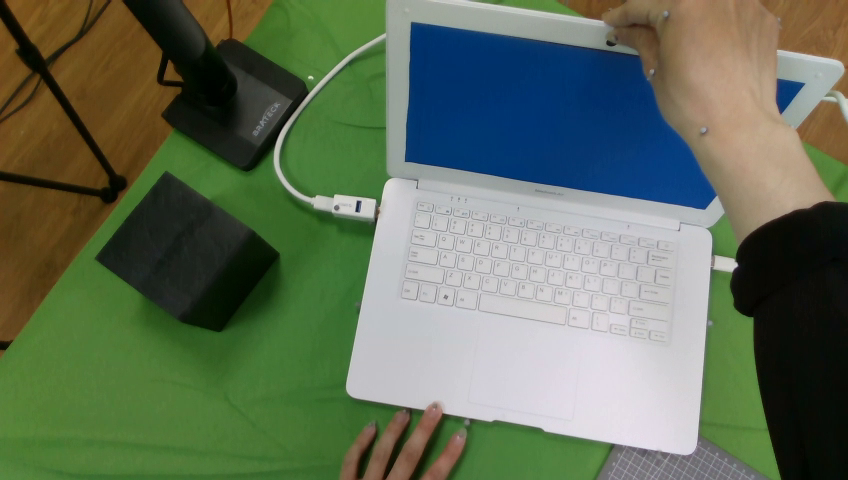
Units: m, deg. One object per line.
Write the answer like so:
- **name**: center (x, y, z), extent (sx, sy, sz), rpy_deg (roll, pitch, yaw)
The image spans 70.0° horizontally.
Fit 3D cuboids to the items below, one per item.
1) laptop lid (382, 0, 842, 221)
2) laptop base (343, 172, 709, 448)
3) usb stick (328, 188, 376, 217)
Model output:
- **laptop lid**: center (0.135, -0.106, 0.551), extent (0.356, 0.243, 0.013), rpy_deg (8, 60, 2)
- **laptop base**: center (0.109, 0.067, 0.629), extent (0.354, 0.023, 0.234), rpy_deg (9, 81, 2)
- **usb stick**: center (-0.069, -0.038, 0.635), extent (0.059, 0.027, 0.021), rpy_deg (9, 80, -4)
